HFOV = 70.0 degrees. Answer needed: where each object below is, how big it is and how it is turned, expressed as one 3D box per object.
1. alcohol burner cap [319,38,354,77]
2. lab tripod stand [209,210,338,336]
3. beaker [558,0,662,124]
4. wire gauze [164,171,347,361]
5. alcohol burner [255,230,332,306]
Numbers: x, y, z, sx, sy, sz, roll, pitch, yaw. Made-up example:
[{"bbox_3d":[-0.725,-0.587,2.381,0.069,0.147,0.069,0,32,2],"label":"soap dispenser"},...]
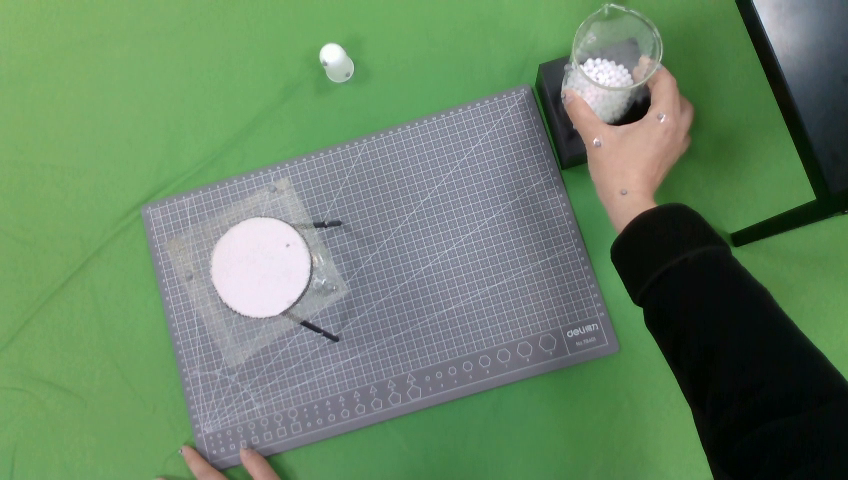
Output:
[{"bbox_3d":[-0.097,-0.200,0.658,0.034,0.048,0.034,-1,84,7],"label":"alcohol burner cap"},{"bbox_3d":[-0.134,0.029,0.585,0.148,0.132,0.148,0,83,3],"label":"lab tripod stand"},{"bbox_3d":[0.163,-0.156,0.551,0.074,0.100,0.083,-8,79,3],"label":"beaker"},{"bbox_3d":[-0.144,0.021,0.519,0.121,0.011,0.124,-30,83,0],"label":"wire gauze"},{"bbox_3d":[-0.134,0.026,0.595,0.078,0.119,0.077,-1,81,6],"label":"alcohol burner"}]
